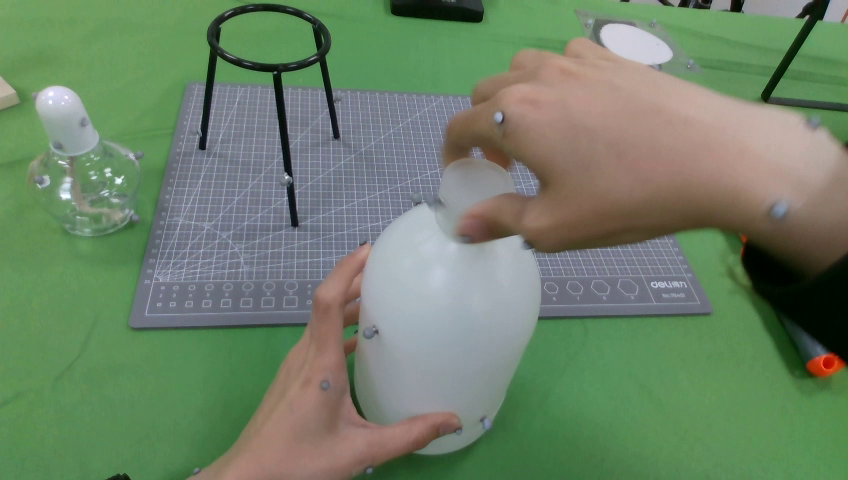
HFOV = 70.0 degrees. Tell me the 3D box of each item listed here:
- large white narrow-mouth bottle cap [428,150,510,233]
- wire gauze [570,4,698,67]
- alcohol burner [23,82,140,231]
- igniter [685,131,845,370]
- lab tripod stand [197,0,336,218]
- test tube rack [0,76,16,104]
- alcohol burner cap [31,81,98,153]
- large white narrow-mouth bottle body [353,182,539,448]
[{"bbox_3d":[0.021,-0.023,0.286,0.038,0.024,0.037,5,48,-5],"label":"large white narrow-mouth bottle cap"},{"bbox_3d":[0.236,-0.232,0.692,0.122,0.011,0.123,2,49,-11],"label":"wire gauze"},{"bbox_3d":[-0.254,-0.064,0.444,0.078,0.120,0.077,6,46,-6],"label":"alcohol burner"},{"bbox_3d":[0.302,-0.004,0.552,0.057,0.025,0.273,9,47,-17],"label":"igniter"},{"bbox_3d":[-0.122,-0.112,0.495,0.149,0.132,0.147,7,48,-7],"label":"lab tripod stand"},{"bbox_3d":[-0.474,-0.118,0.470,0.066,0.086,0.242,38,53,22],"label":"test tube rack"},{"bbox_3d":[-0.249,-0.087,0.416,0.034,0.048,0.033,4,54,-5],"label":"alcohol burner cap"},{"bbox_3d":[0.012,0.036,0.349,0.102,0.196,0.101,5,48,-5],"label":"large white narrow-mouth bottle body"}]
